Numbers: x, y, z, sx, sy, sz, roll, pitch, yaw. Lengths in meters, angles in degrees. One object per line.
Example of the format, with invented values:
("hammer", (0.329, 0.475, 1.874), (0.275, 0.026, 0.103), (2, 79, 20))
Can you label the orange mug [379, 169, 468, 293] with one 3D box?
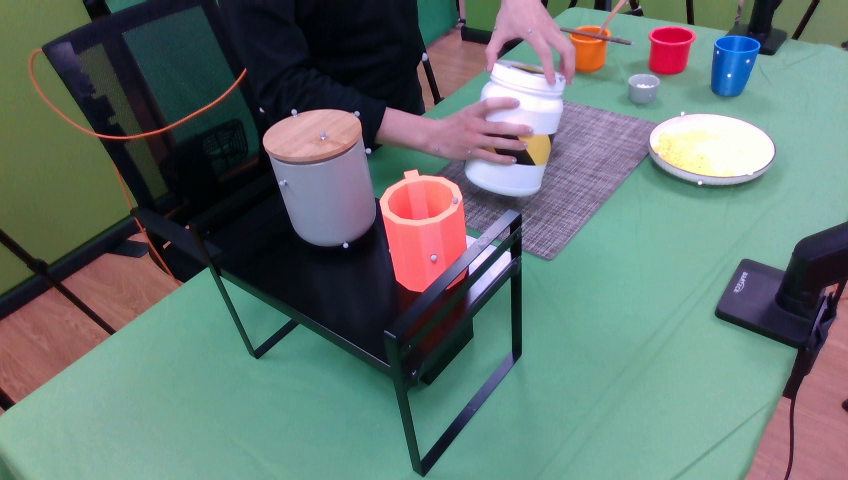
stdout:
("orange mug", (-0.002, -0.019, 0.665), (0.083, 0.101, 0.125), (-12, 45, -4))

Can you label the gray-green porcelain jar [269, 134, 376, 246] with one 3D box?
("gray-green porcelain jar", (-0.115, -0.064, 0.715), (0.106, 0.127, 0.105), (-4, 40, 4))

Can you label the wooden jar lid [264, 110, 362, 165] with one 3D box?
("wooden jar lid", (-0.122, -0.112, 0.673), (0.108, 0.021, 0.108), (-4, 37, 4))

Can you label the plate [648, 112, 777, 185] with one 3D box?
("plate", (0.506, -0.158, 1.073), (0.209, 0.038, 0.208), (-5, 41, 4))

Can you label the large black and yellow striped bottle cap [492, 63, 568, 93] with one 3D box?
("large black and yellow striped bottle cap", (0.162, -0.248, 0.923), (0.115, 0.019, 0.114), (11, 25, -5))

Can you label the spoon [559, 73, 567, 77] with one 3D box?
("spoon", (0.250, -0.336, 1.332), (0.194, 0.022, 0.041), (-32, 32, -25))

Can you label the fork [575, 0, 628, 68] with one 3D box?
("fork", (0.413, -0.481, 1.377), (0.207, 0.019, 0.028), (-57, 43, 12))

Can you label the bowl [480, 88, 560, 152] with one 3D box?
("bowl", (0.185, -0.222, 1.161), (0.151, 0.077, 0.150), (-4, 40, 4))

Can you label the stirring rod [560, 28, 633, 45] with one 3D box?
("stirring rod", (0.382, -0.453, 1.345), (0.174, 0.006, 0.014), (26, 52, 34))

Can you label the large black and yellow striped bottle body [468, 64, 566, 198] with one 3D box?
("large black and yellow striped bottle body", (0.149, -0.174, 0.960), (0.131, 0.184, 0.130), (9, 27, -4))

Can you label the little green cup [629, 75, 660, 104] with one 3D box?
("little green cup", (0.457, -0.314, 1.260), (0.061, 0.039, 0.061), (-4, 40, 4))

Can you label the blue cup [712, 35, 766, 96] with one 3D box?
("blue cup", (0.627, -0.350, 1.227), (0.092, 0.100, 0.092), (-4, 39, 4))
